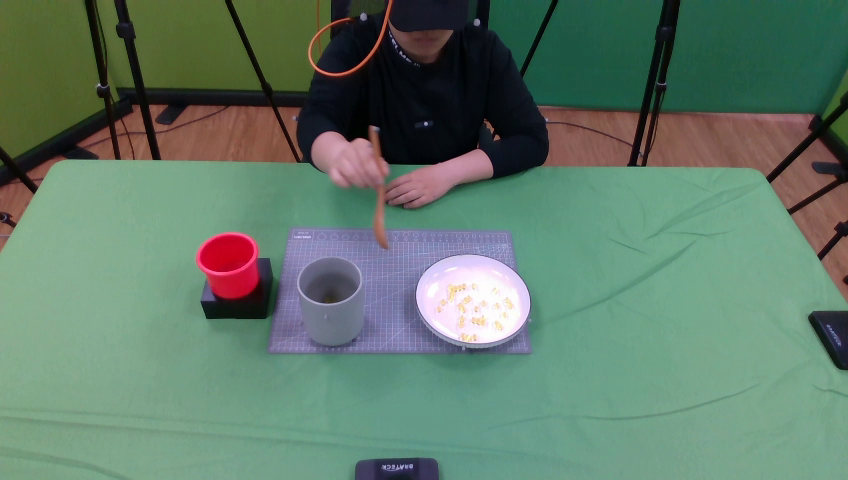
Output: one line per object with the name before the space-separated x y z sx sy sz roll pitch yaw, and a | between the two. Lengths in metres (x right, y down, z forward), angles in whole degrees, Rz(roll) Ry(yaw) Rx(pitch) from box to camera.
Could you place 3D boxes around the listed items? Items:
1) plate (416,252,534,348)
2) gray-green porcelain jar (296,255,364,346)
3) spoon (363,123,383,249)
plate | 0.090 0.109 1.084 0.208 0.039 0.206 2 46 -2
gray-green porcelain jar | -0.153 0.106 1.008 0.106 0.127 0.105 2 46 -2
spoon | -0.076 -0.077 0.900 0.022 0.194 0.041 -8 22 -18
